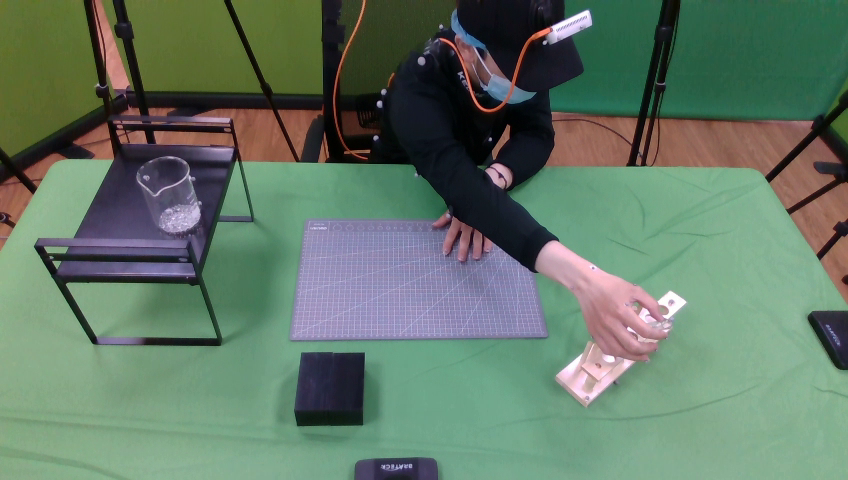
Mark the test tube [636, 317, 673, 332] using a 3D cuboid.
[{"bbox_3d":[0.353,0.133,0.938,0.017,0.151,0.017,-1,78,3],"label":"test tube"}]

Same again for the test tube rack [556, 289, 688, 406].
[{"bbox_3d":[0.332,0.166,1.014,0.242,0.085,0.066,-30,55,-28],"label":"test tube rack"}]

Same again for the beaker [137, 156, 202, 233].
[{"bbox_3d":[-0.385,-0.064,0.925,0.074,0.101,0.083,2,47,-1],"label":"beaker"}]
